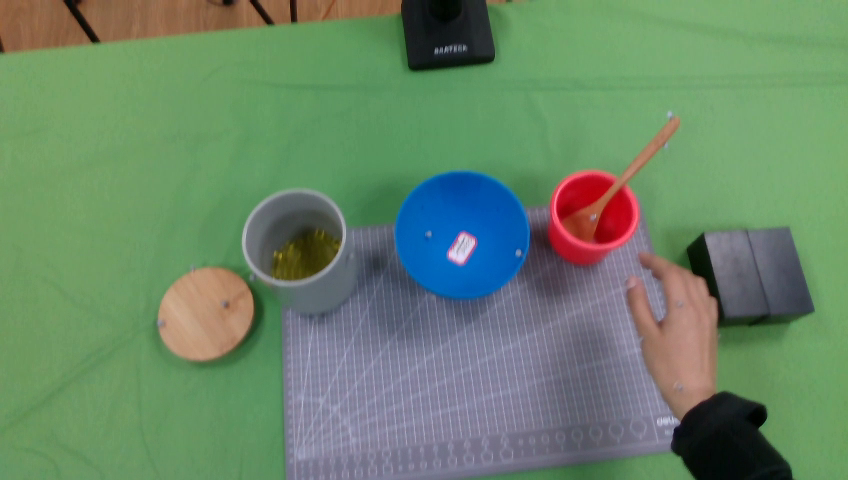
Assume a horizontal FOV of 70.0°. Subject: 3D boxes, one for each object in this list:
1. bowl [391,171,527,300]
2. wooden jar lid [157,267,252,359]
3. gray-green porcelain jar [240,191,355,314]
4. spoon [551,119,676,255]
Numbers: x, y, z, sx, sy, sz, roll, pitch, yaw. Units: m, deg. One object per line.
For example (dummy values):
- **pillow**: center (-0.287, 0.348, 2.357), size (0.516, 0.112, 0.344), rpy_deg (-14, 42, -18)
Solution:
- **bowl**: center (0.039, 0.005, 0.698), size (0.151, 0.077, 0.150), rpy_deg (0, 69, 1)
- **wooden jar lid**: center (-0.252, 0.085, 0.703), size (0.108, 0.021, 0.107), rpy_deg (0, 69, 1)
- **gray-green porcelain jar**: center (-0.133, 0.020, 0.667), size (0.106, 0.127, 0.105), rpy_deg (0, 69, 0)
- **spoon**: center (0.214, -0.057, 0.685), size (0.041, 0.022, 0.194), rpy_deg (47, 120, 17)
